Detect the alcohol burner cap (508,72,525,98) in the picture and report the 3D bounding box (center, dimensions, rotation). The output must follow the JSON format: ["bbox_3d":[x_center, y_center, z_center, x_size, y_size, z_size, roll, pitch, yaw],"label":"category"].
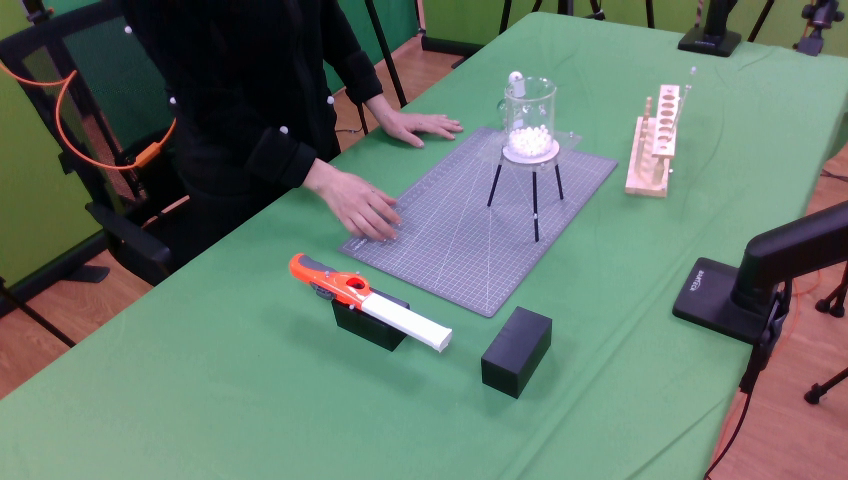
[{"bbox_3d":[0.181,-0.306,1.186,0.034,0.048,0.033,-7,39,6],"label":"alcohol burner cap"}]

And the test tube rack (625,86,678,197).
[{"bbox_3d":[0.412,-0.184,1.088,0.066,0.085,0.242,9,43,18],"label":"test tube rack"}]

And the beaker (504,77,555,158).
[{"bbox_3d":[0.160,-0.181,0.900,0.084,0.101,0.073,-33,46,-27],"label":"beaker"}]

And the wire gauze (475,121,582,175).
[{"bbox_3d":[0.161,-0.142,0.929,0.120,0.011,0.125,19,49,32],"label":"wire gauze"}]

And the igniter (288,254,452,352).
[{"bbox_3d":[-0.083,0.079,0.818,0.274,0.025,0.057,23,46,27],"label":"igniter"}]

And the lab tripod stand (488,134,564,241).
[{"bbox_3d":[0.168,-0.092,0.972,0.148,0.132,0.147,-5,41,5],"label":"lab tripod stand"}]

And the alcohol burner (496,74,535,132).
[{"bbox_3d":[0.184,-0.278,1.210,0.078,0.119,0.077,-3,42,3],"label":"alcohol burner"}]

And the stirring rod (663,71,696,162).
[{"bbox_3d":[0.410,-0.195,0.981,0.014,0.177,0.006,11,50,14],"label":"stirring rod"}]
